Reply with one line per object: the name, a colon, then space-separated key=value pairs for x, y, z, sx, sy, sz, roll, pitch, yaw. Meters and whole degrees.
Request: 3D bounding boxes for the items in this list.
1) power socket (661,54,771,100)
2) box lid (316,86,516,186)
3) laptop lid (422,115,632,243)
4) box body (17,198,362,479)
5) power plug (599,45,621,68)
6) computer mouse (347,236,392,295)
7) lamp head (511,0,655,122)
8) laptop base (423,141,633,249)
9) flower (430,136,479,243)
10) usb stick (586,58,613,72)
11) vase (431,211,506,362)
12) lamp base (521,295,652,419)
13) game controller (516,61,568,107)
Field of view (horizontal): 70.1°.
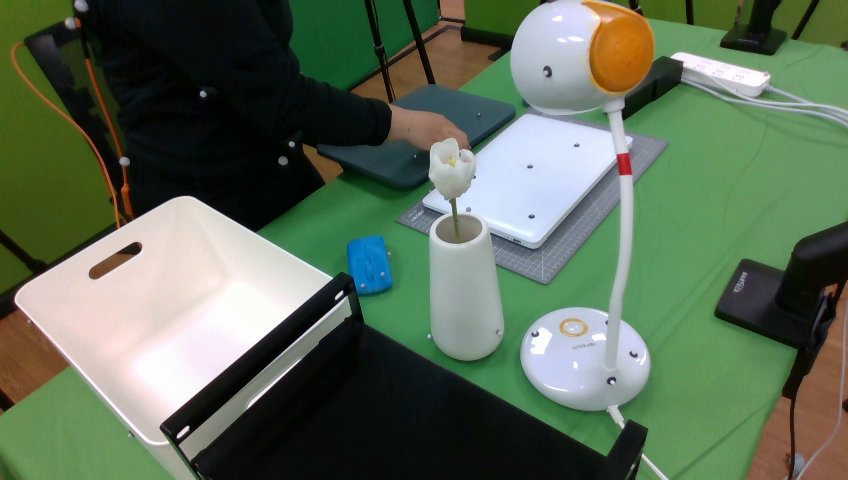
power socket: x=0.615 y=-0.348 z=1.285 sx=0.072 sy=0.033 sz=0.225 roll=-36 pitch=48 yaw=-29
box lid: x=-0.009 y=-0.226 z=1.239 sx=0.261 sy=0.015 sz=0.373 roll=24 pitch=46 yaw=33
laptop lid: x=0.190 y=-0.126 z=1.081 sx=0.239 sy=0.013 sz=0.358 roll=23 pitch=48 yaw=34
box body: x=-0.285 y=0.123 z=0.766 sx=0.361 sy=0.161 sz=0.255 roll=25 pitch=49 yaw=33
power plug: x=0.437 y=-0.422 z=1.412 sx=0.053 sy=0.035 sz=0.072 roll=-18 pitch=74 yaw=-47
computer mouse: x=-0.086 y=0.035 z=0.936 sx=0.063 sy=0.041 sz=0.116 roll=-8 pitch=44 yaw=-5
lamp head: x=0.155 y=-0.168 z=0.563 sx=0.113 sy=0.113 sz=0.122 roll=-18 pitch=23 yaw=-12
laptop base: x=0.193 y=-0.117 z=1.087 sx=0.233 sy=0.023 sz=0.355 roll=21 pitch=48 yaw=34
flower: x=0.041 y=0.011 z=0.691 sx=0.044 sy=0.363 sz=0.038 roll=16 pitch=62 yaw=14
usb stick: x=0.401 y=-0.399 z=1.380 sx=0.059 sy=0.027 sz=0.021 roll=0 pitch=48 yaw=20
vase: x=0.054 y=0.062 z=0.757 sx=0.098 sy=0.201 sz=0.097 roll=-3 pitch=40 yaw=3
lamp base: x=0.201 y=0.095 z=0.710 sx=0.161 sy=0.181 sz=0.177 roll=-16 pitch=43 yaw=-10
game controller: x=0.259 y=-0.352 z=1.336 sx=0.097 sy=0.052 sz=0.154 roll=-3 pitch=41 yaw=2
